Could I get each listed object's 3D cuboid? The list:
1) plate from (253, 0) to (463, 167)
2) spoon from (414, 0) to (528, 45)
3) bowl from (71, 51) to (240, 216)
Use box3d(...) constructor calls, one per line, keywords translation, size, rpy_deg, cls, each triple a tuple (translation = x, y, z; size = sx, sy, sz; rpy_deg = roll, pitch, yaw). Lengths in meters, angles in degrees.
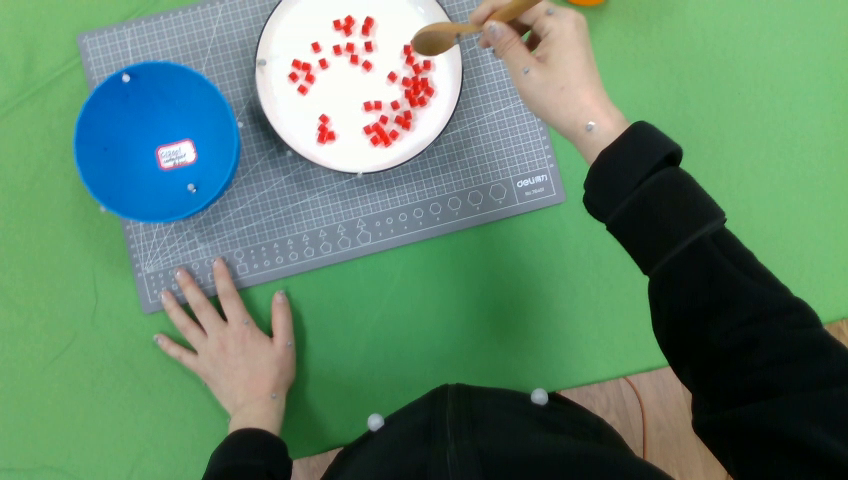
box3d(translation=(-0.065, -0.176, 0.613), size=(0.209, 0.038, 0.209), rpy_deg=(0, 88, 0), cls="plate")
box3d(translation=(0.046, -0.179, 0.475), size=(0.042, 0.192, 0.021), rpy_deg=(3, 96, -28), cls="spoon")
box3d(translation=(-0.246, -0.095, 0.589), size=(0.151, 0.077, 0.151), rpy_deg=(0, 89, -1), cls="bowl")
